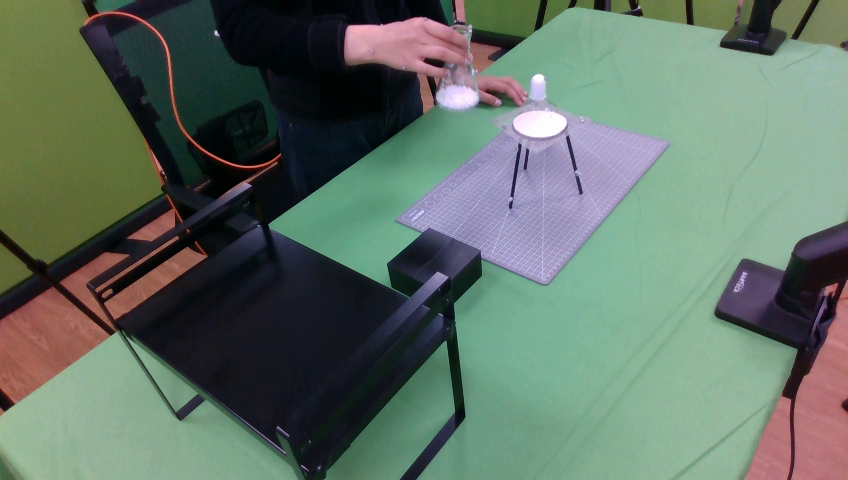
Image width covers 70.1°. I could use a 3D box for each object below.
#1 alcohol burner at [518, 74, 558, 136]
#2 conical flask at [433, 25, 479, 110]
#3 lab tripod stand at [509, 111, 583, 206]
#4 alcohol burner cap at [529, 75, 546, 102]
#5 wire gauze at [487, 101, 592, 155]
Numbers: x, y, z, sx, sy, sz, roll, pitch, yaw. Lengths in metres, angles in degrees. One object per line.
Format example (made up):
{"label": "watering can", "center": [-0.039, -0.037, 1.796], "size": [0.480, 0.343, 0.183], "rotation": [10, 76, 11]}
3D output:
{"label": "alcohol burner", "center": [0.222, -0.265, 1.179], "size": [0.078, 0.119, 0.077], "rotation": [-5, 39, 5]}
{"label": "conical flask", "center": [0.053, -0.273, 0.954], "size": [0.075, 0.122, 0.075], "rotation": [0, 45, 0]}
{"label": "lab tripod stand", "center": [0.197, -0.139, 1.020], "size": [0.148, 0.132, 0.147], "rotation": [-3, 39, 3]}
{"label": "alcohol burner cap", "center": [0.218, -0.292, 1.156], "size": [0.034, 0.048, 0.033], "rotation": [-3, 46, 4]}
{"label": "wire gauze", "center": [0.185, -0.188, 0.974], "size": [0.122, 0.011, 0.124], "rotation": [-27, 45, -22]}
